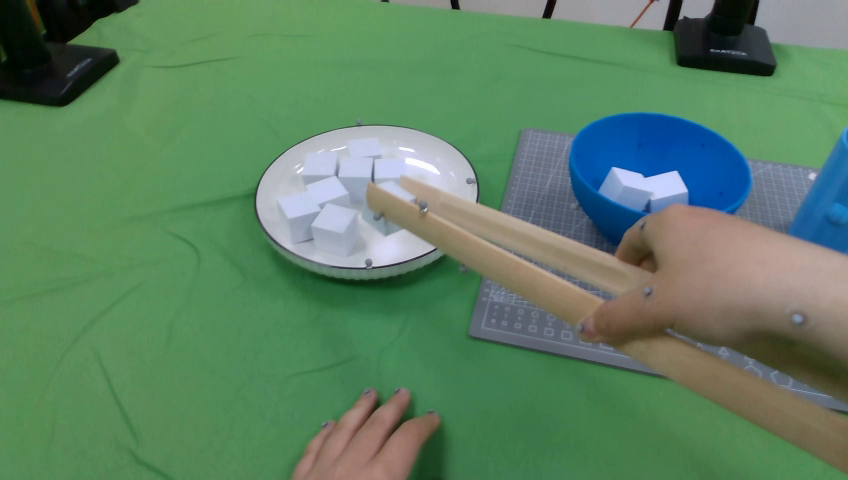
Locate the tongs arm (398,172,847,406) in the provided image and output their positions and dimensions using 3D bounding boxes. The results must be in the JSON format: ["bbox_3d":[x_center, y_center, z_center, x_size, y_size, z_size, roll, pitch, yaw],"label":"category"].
[{"bbox_3d":[0.107,0.021,0.387,0.028,0.028,0.383,-12,29,-42],"label":"tongs arm"}]

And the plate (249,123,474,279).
[{"bbox_3d":[-0.057,-0.038,0.572,0.209,0.038,0.207,1,45,0],"label":"plate"}]

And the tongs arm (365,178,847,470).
[{"bbox_3d":[0.090,0.026,0.371,0.051,0.027,0.381,-13,30,-37],"label":"tongs arm"}]

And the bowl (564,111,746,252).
[{"bbox_3d":[0.196,-0.042,0.544,0.151,0.077,0.150,0,45,0],"label":"bowl"}]

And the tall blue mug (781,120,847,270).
[{"bbox_3d":[0.381,-0.033,0.512,0.106,0.109,0.077,19,47,18],"label":"tall blue mug"}]
